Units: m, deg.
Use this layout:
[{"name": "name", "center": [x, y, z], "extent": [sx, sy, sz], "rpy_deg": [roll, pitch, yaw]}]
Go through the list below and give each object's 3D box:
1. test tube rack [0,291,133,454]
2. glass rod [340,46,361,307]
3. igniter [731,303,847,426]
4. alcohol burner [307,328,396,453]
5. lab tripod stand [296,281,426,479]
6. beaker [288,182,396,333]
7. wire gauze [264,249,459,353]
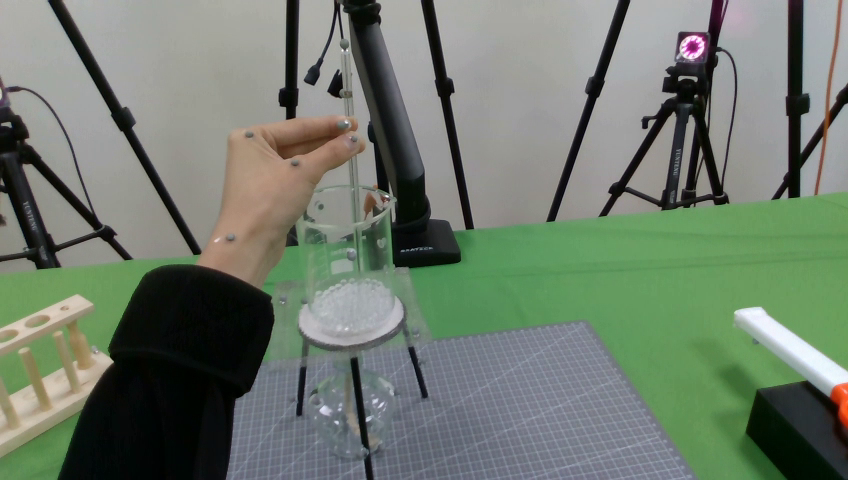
[{"name": "test tube rack", "center": [-0.406, 0.145, 0.550], "extent": [0.066, 0.086, 0.242], "rpy_deg": [18, 34, 33]}, {"name": "glass rod", "center": [-0.053, -0.038, 0.445], "extent": [0.008, 0.201, 0.008], "rpy_deg": [0, 24, 0]}, {"name": "igniter", "center": [0.349, 0.127, 0.492], "extent": [0.057, 0.025, 0.274], "rpy_deg": [-7, 25, -8]}, {"name": "alcohol burner", "center": [-0.064, 0.125, 0.527], "extent": [0.078, 0.120, 0.077], "rpy_deg": [0, 28, 0]}, {"name": "lab tripod stand", "center": [-0.055, 0.116, 0.523], "extent": [0.148, 0.132, 0.147], "rpy_deg": [0, 29, 0]}, {"name": "beaker", "center": [-0.058, 0.014, 0.471], "extent": [0.084, 0.101, 0.073], "rpy_deg": [-17, 33, -27]}, {"name": "wire gauze", "center": [-0.053, 0.045, 0.482], "extent": [0.125, 0.011, 0.120], "rpy_deg": [-12, 27, -28]}]
